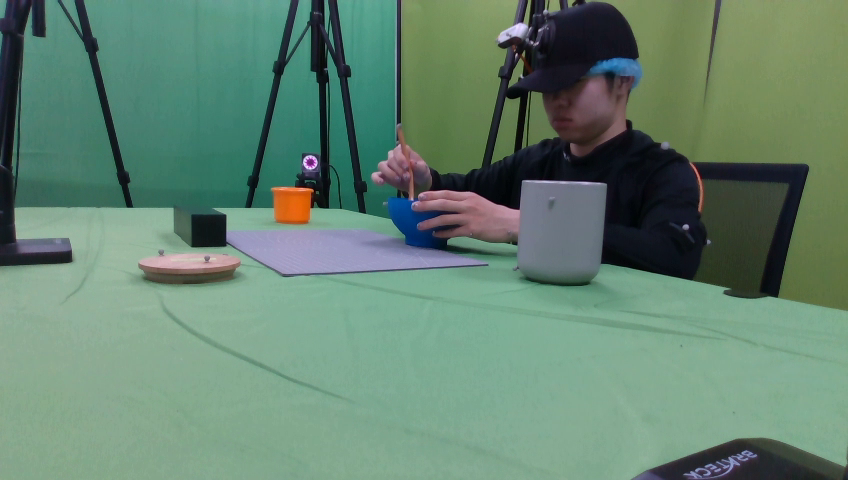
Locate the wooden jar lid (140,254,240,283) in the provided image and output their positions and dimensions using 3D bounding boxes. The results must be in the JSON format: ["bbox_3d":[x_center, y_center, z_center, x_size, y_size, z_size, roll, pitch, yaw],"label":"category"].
[{"bbox_3d":[-0.269,0.032,0.698,0.108,0.020,0.108,2,5,0],"label":"wooden jar lid"}]

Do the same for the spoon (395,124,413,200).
[{"bbox_3d":[-0.028,-0.105,1.051,0.022,0.193,0.041,-8,1,-6],"label":"spoon"}]

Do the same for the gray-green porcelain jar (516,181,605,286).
[{"bbox_3d":[0.172,-0.010,0.768,0.106,0.126,0.106,2,7,0],"label":"gray-green porcelain jar"}]

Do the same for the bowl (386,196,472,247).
[{"bbox_3d":[0.004,-0.030,1.047,0.151,0.077,0.151,6,5,0],"label":"bowl"}]
